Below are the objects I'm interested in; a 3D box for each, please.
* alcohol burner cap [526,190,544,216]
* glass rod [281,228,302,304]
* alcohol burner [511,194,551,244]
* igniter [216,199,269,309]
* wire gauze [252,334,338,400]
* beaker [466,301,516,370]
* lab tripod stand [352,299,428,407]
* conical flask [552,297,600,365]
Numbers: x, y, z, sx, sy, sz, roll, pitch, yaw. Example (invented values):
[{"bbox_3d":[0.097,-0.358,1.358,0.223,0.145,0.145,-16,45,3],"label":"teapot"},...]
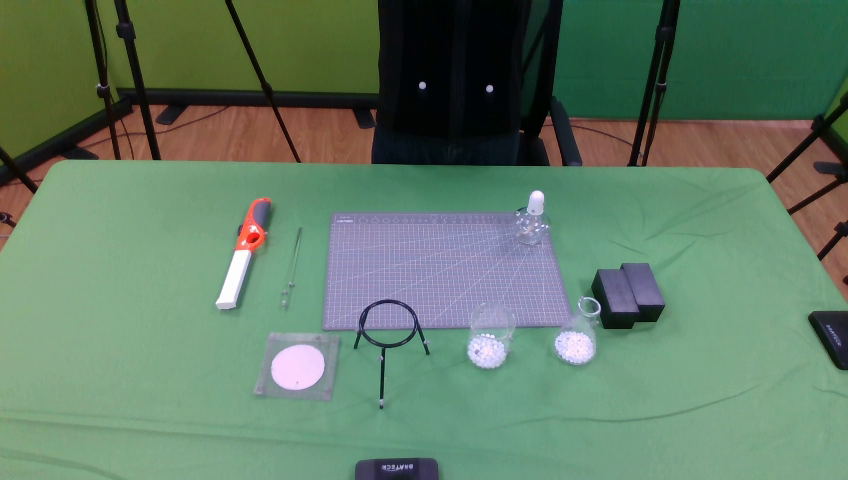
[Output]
[{"bbox_3d":[0.216,-0.073,1.170,0.034,0.048,0.033,-1,42,1],"label":"alcohol burner cap"},{"bbox_3d":[-0.250,0.045,1.146,0.008,0.008,0.198,2,43,-1],"label":"glass rod"},{"bbox_3d":[0.215,-0.048,1.196,0.078,0.119,0.077,4,46,-4],"label":"alcohol burner"},{"bbox_3d":[-0.342,0.016,1.153,0.057,0.025,0.275,-3,45,7],"label":"igniter"},{"bbox_3d":[-0.209,0.204,0.996,0.125,0.011,0.120,3,45,1],"label":"wire gauze"},{"bbox_3d":[0.106,0.162,0.998,0.084,0.101,0.073,-31,55,-29],"label":"beaker"},{"bbox_3d":[-0.056,0.166,0.958,0.148,0.132,0.147,3,44,-2],"label":"lab tripod stand"},{"bbox_3d":[0.261,0.147,1.009,0.075,0.122,0.075,2,46,-2],"label":"conical flask"}]
